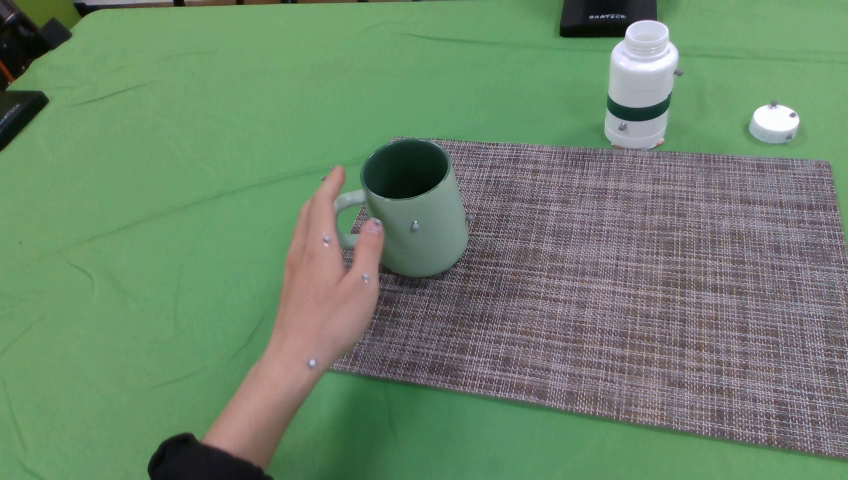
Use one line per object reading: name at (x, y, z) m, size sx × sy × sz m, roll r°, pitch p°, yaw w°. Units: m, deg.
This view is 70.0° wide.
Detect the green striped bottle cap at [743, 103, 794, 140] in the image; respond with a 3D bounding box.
green striped bottle cap at (0.354, -0.121, 0.621) m, size 0.044 × 0.020 × 0.044 m, roll -4°, pitch 46°, yaw 4°

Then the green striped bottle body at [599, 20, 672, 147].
green striped bottle body at (0.212, -0.158, 0.612) m, size 0.063 × 0.120 × 0.062 m, roll -6°, pitch 49°, yaw 7°

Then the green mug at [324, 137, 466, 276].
green mug at (-0.028, -0.024, 0.550) m, size 0.125 × 0.106 × 0.091 m, roll -15°, pitch 49°, yaw -1°
